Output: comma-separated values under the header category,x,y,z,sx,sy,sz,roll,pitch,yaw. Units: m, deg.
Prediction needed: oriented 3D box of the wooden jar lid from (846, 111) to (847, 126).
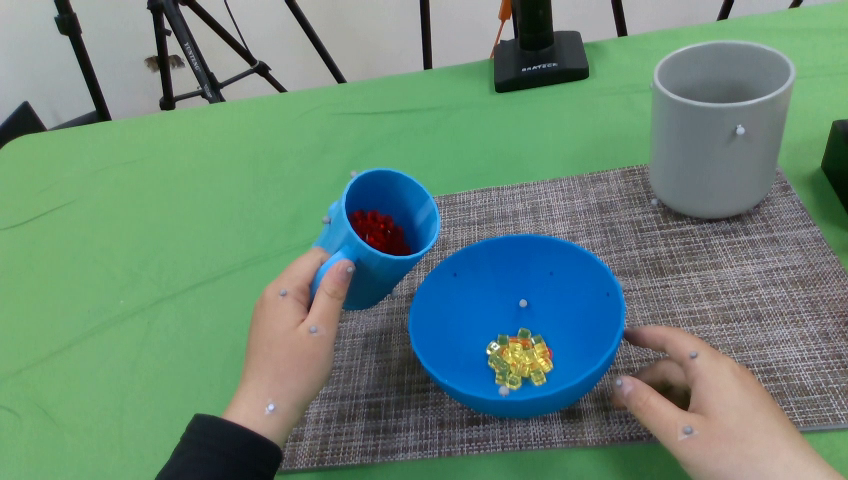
category,x,y,z,sx,sy,sz,roll,pitch,yaw
wooden jar lid,0.404,-0.091,0.489,0.108,0.021,0.107,-9,42,9

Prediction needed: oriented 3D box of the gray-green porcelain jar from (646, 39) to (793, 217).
category,x,y,z,sx,sy,sz,roll,pitch,yaw
gray-green porcelain jar,0.250,-0.092,0.528,0.106,0.128,0.105,-9,43,8

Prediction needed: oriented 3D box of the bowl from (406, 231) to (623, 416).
category,x,y,z,sx,sy,sz,roll,pitch,yaw
bowl,0.068,0.072,0.444,0.151,0.077,0.150,-9,42,8

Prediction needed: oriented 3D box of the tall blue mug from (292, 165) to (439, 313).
category,x,y,z,sx,sy,sz,roll,pitch,yaw
tall blue mug,-0.048,0.014,0.470,0.078,0.108,0.106,22,57,-15
